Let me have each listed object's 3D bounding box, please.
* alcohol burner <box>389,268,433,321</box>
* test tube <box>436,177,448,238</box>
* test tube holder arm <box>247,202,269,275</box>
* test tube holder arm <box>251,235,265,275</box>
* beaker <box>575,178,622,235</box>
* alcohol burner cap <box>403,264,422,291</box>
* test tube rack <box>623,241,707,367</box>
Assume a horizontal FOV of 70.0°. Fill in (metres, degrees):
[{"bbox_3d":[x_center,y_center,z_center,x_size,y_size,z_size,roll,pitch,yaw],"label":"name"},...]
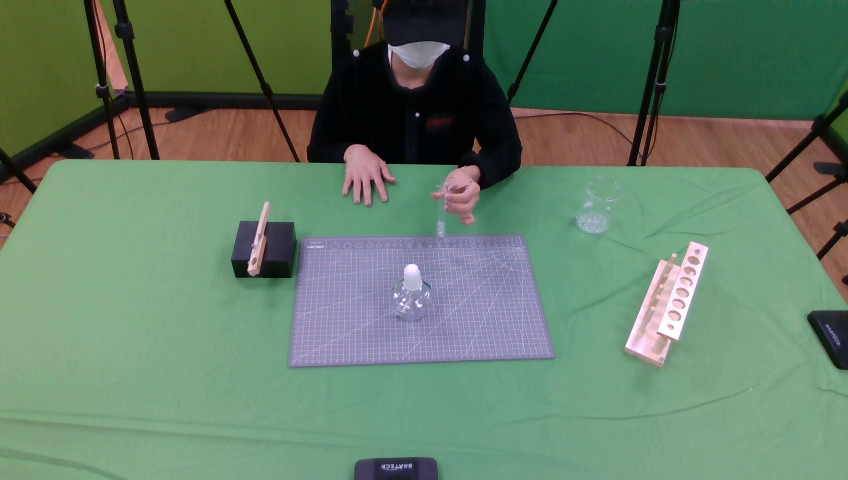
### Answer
[{"bbox_3d":[-0.022,0.085,1.046,0.078,0.119,0.077,2,48,-3],"label":"alcohol burner"},{"bbox_3d":[0.032,-0.056,1.107,0.017,0.151,0.017,1,49,-1],"label":"test tube"},{"bbox_3d":[-0.304,-0.006,1.116,0.013,0.015,0.177,-6,46,2],"label":"test tube holder arm"},{"bbox_3d":[-0.297,0.025,1.084,0.010,0.015,0.087,-6,46,2],"label":"test tube holder arm"},{"bbox_3d":[0.356,-0.068,1.240,0.084,0.101,0.073,-18,50,-21],"label":"beaker"},{"bbox_3d":[-0.021,0.060,1.021,0.034,0.048,0.033,-2,46,2],"label":"alcohol burner cap"},{"bbox_3d":[0.435,0.104,1.089,0.066,0.085,0.242,24,49,18],"label":"test tube rack"}]
